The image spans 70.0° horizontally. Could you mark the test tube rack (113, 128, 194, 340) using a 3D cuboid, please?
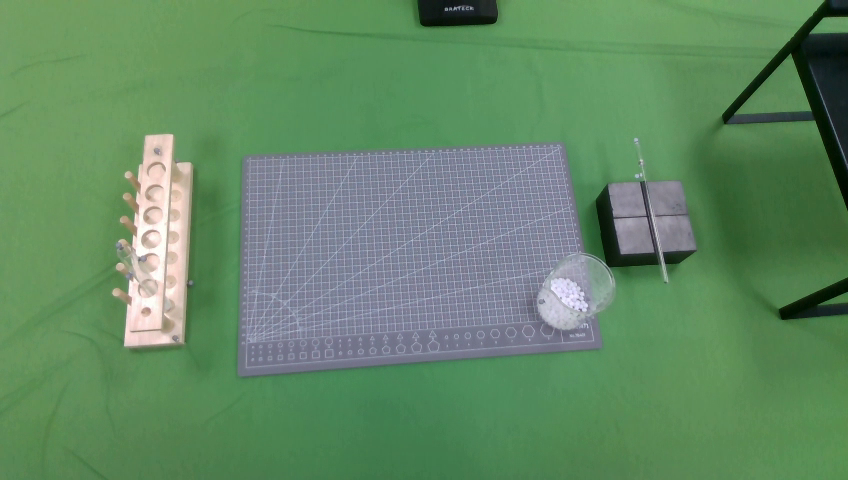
[{"bbox_3d":[-0.330,-0.008,0.732,0.067,0.085,0.240,-3,70,-5],"label":"test tube rack"}]

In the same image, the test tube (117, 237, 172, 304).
[{"bbox_3d":[-0.303,0.038,0.665,0.017,0.151,0.017,3,62,-5],"label":"test tube"}]

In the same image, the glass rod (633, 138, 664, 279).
[{"bbox_3d":[0.290,-0.044,0.783,0.008,0.008,0.198,-1,70,-4],"label":"glass rod"}]

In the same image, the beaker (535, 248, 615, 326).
[{"bbox_3d":[0.176,0.061,0.735,0.084,0.101,0.073,-2,69,-4],"label":"beaker"}]
